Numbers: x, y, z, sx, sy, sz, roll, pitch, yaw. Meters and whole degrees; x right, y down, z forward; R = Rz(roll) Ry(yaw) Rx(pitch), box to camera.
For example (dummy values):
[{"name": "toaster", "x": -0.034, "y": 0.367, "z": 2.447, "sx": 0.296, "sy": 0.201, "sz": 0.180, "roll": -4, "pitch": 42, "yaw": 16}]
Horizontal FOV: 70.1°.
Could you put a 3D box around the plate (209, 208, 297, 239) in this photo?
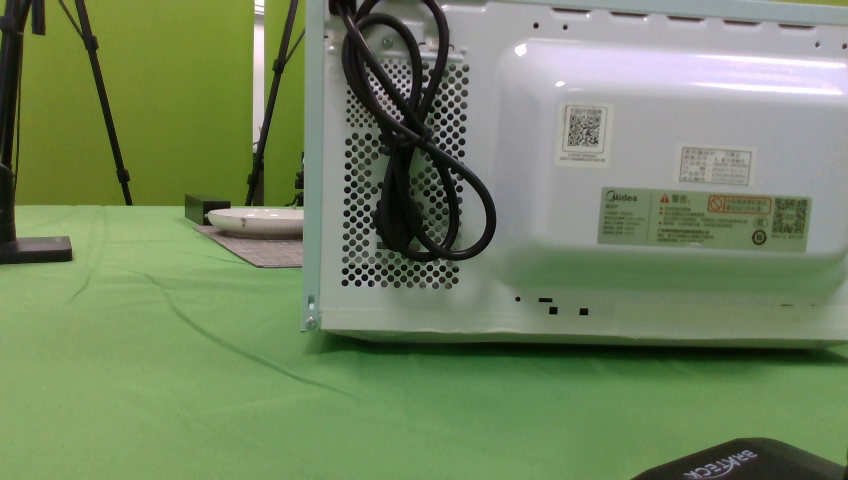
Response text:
[{"name": "plate", "x": -0.271, "y": -0.029, "z": 1.074, "sx": 0.208, "sy": 0.039, "sz": 0.207, "roll": 3, "pitch": 7, "yaw": 0}]

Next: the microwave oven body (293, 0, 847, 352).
[{"name": "microwave oven body", "x": 0.122, "y": -0.055, "z": 0.550, "sx": 0.442, "sy": 0.260, "sz": 0.325, "roll": 3, "pitch": 7, "yaw": -5}]

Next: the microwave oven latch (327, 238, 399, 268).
[{"name": "microwave oven latch", "x": -0.069, "y": 0.015, "z": 0.694, "sx": 0.079, "sy": 0.029, "sz": 0.030, "roll": 3, "pitch": 7, "yaw": -3}]

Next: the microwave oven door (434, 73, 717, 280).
[{"name": "microwave oven door", "x": 0.180, "y": -0.089, "z": 0.794, "sx": 0.354, "sy": 0.243, "sz": 0.039, "roll": 6, "pitch": 7, "yaw": 30}]

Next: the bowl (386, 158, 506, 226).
[{"name": "bowl", "x": 0.029, "y": -0.061, "z": 0.764, "sx": 0.151, "sy": 0.077, "sz": 0.151, "roll": -3, "pitch": 8, "yaw": 1}]
